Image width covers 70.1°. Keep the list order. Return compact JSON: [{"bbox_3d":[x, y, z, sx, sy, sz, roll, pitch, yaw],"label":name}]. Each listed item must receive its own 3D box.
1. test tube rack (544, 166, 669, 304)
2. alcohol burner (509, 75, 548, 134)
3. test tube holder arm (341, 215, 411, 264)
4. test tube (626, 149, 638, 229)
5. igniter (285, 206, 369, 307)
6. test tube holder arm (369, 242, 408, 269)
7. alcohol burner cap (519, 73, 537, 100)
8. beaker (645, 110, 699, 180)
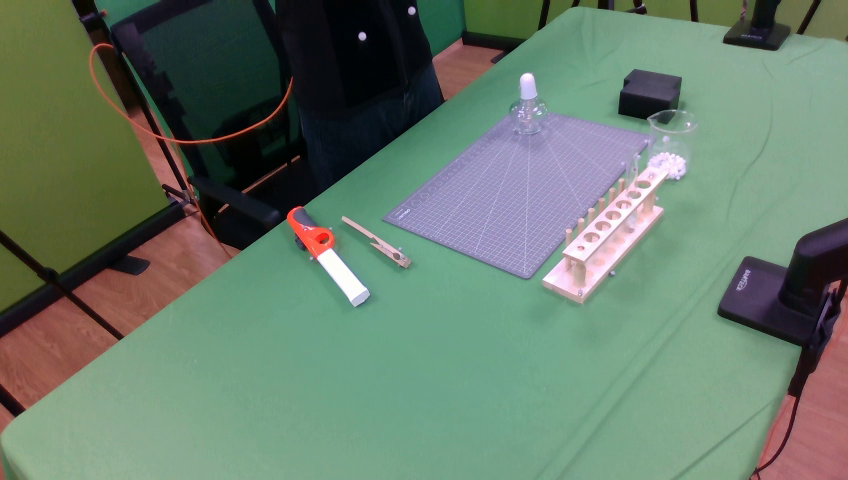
[{"bbox_3d":[0.274,-0.018,0.903,0.066,0.085,0.243,26,51,35],"label":"test tube rack"},{"bbox_3d":[0.204,-0.270,1.186,0.078,0.119,0.077,-5,42,5],"label":"alcohol burner"},{"bbox_3d":[-0.083,-0.002,0.999,0.177,0.015,0.013,33,86,40],"label":"test tube holder arm"},{"bbox_3d":[0.304,-0.071,0.882,0.017,0.151,0.017,-9,44,10],"label":"test tube"},{"bbox_3d":[-0.166,0.018,0.986,0.057,0.025,0.274,-34,45,-13],"label":"igniter"},{"bbox_3d":[-0.057,0.021,0.971,0.087,0.015,0.010,34,87,40],"label":"test tube holder arm"},{"bbox_3d":[0.198,-0.298,1.163,0.034,0.048,0.033,-9,37,8],"label":"alcohol burner cap"},{"bbox_3d":[0.417,-0.160,1.032,0.083,0.101,0.074,25,51,34],"label":"beaker"}]
